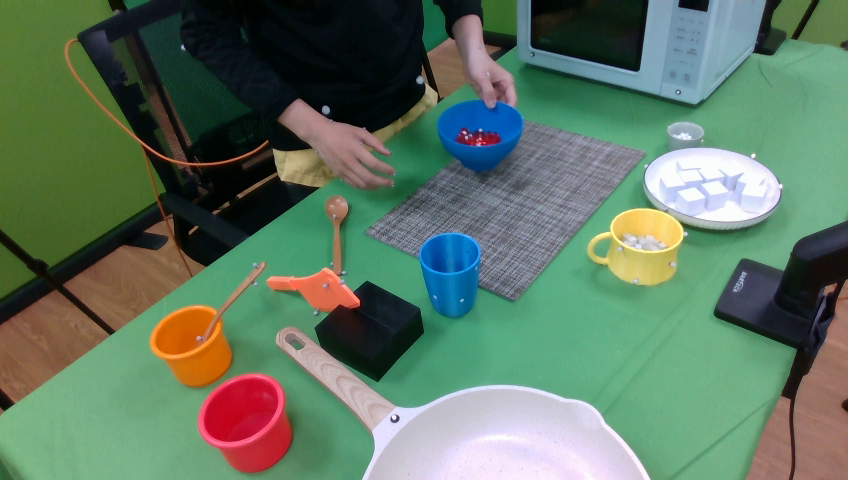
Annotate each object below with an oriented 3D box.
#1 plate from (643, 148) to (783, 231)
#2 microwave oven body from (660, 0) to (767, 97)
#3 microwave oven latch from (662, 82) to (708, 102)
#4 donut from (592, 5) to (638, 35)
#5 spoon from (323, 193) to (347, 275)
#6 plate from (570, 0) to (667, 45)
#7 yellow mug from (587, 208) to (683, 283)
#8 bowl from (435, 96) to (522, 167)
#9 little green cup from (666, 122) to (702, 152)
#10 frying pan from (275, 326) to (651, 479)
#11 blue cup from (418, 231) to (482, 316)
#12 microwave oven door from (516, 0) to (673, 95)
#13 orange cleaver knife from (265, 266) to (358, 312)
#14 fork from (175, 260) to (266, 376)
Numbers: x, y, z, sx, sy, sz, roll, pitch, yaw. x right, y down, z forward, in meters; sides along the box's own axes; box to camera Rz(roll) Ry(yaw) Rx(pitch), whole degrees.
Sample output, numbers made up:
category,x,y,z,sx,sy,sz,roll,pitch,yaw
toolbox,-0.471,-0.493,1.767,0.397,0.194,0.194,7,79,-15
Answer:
category,x,y,z,sx,sy,sz,roll,pitch,yaw
plate,0.464,-0.080,0.986,0.207,0.039,0.206,-4,40,4
microwave oven body,0.473,-0.516,1.313,0.438,0.261,0.327,26,51,34
microwave oven latch,0.518,-0.298,1.203,0.078,0.029,0.030,28,53,35
donut,0.427,-0.492,1.351,0.099,0.048,0.098,-7,39,6
spoon,-0.148,-0.014,1.008,0.042,0.022,0.192,1,40,-9
plate,0.436,-0.490,1.368,0.209,0.038,0.208,-6,40,5
yellow mug,0.305,0.009,0.884,0.131,0.064,0.099,-4,41,5
bowl,0.097,-0.182,1.067,0.151,0.077,0.150,-2,43,2
little green cup,0.471,-0.184,1.102,0.061,0.039,0.061,-5,41,5
frying pan,0.004,0.229,0.641,0.484,0.103,0.308,34,54,28
blue cup,0.040,0.053,0.843,0.092,0.100,0.092,-4,43,4
microwave oven door,0.344,-0.458,1.257,0.353,0.245,0.039,26,51,33
orange cleaver knife,-0.164,0.073,0.864,0.210,0.077,0.012,-6,31,50
fork,-0.268,0.103,0.792,0.207,0.019,0.028,-51,41,16
